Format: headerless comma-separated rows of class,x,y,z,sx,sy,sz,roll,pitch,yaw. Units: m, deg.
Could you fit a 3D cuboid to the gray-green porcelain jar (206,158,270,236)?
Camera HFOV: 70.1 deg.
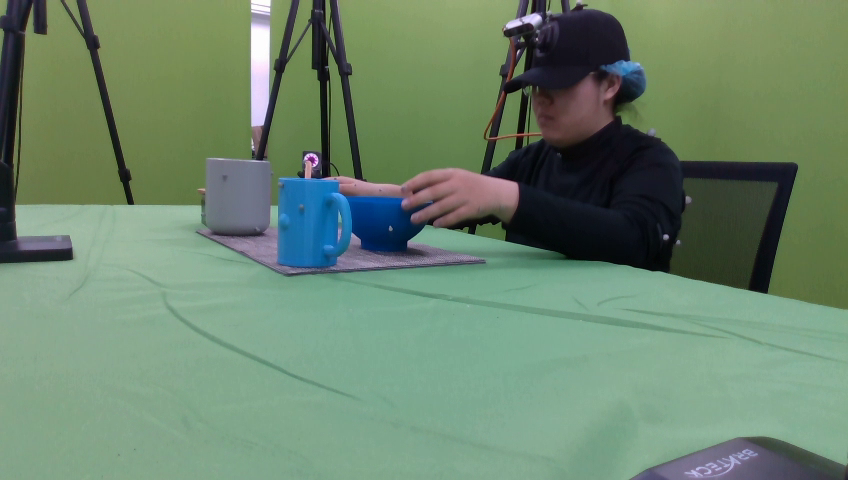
gray-green porcelain jar,-0.317,-0.074,1.032,0.106,0.126,0.106,3,7,0

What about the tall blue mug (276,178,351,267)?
tall blue mug,-0.133,-0.023,0.767,0.107,0.108,0.078,4,7,12

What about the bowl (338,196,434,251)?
bowl,-0.061,-0.026,0.943,0.151,0.077,0.151,2,7,0

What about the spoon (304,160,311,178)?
spoon,-0.243,-0.103,1.251,0.042,0.021,0.193,0,51,-6

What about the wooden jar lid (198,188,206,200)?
wooden jar lid,-0.382,-0.088,1.175,0.108,0.020,0.108,3,8,0
